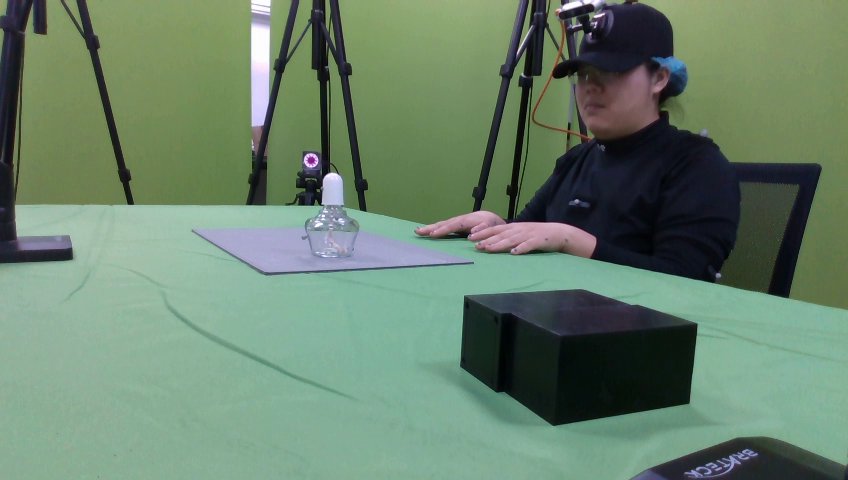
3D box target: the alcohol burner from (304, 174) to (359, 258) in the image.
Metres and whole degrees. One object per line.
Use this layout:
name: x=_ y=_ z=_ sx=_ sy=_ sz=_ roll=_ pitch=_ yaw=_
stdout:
alcohol burner: x=-0.130 y=-0.035 z=0.851 sx=0.078 sy=0.119 sz=0.078 roll=2 pitch=5 yaw=0

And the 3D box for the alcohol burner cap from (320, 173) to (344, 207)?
alcohol burner cap: x=-0.129 y=-0.071 z=0.848 sx=0.034 sy=0.048 sz=0.034 roll=0 pitch=2 yaw=0
